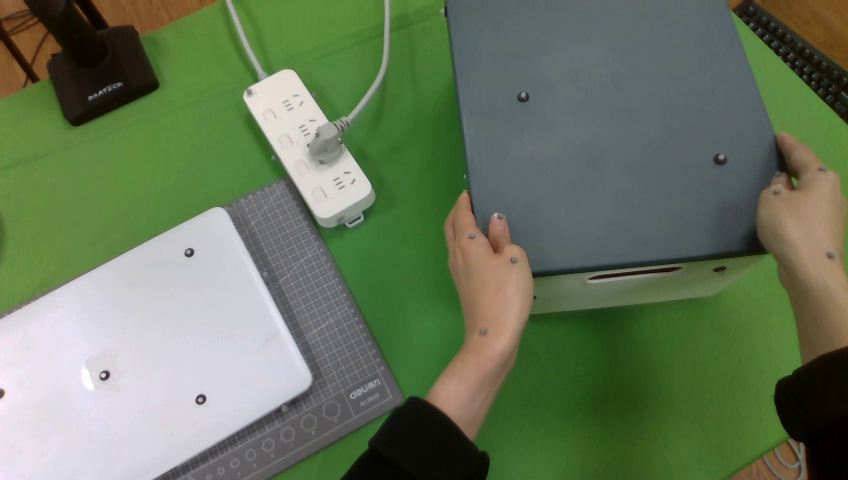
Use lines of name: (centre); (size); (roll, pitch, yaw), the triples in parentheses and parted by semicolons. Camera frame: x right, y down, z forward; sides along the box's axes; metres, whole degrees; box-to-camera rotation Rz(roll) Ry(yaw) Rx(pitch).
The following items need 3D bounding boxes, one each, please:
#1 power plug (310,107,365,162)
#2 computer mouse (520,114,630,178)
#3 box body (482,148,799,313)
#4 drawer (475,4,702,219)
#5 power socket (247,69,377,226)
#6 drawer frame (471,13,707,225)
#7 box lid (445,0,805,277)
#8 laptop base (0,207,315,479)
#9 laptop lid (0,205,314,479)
power plug: (-0.092, -0.111, 0.678); (0.072, 0.053, 0.035); (-20, 65, -6)
computer mouse: (0.163, -0.102, 0.655); (0.117, 0.041, 0.062); (-2, 73, 7)
box body: (0.166, -0.120, 0.615); (0.254, 0.161, 0.361); (-6, 66, 2)
drawer: (0.165, -0.139, 0.653); (0.194, 0.074, 0.210); (-8, 70, 1)
power socket: (-0.133, -0.111, 0.706); (0.072, 0.033, 0.225); (-30, 68, -10)
drawer frame: (0.163, -0.132, 0.655); (0.202, 0.083, 0.211); (-8, 61, -1)
box lid: (0.160, -0.151, 0.547); (0.263, 0.015, 0.368); (-6, 68, 1)
laptop base: (-0.313, 0.138, 0.621); (0.354, 0.023, 0.234); (-30, 71, -8)
laptop lid: (-0.313, 0.135, 0.609); (0.357, 0.013, 0.240); (-28, 70, -8)
